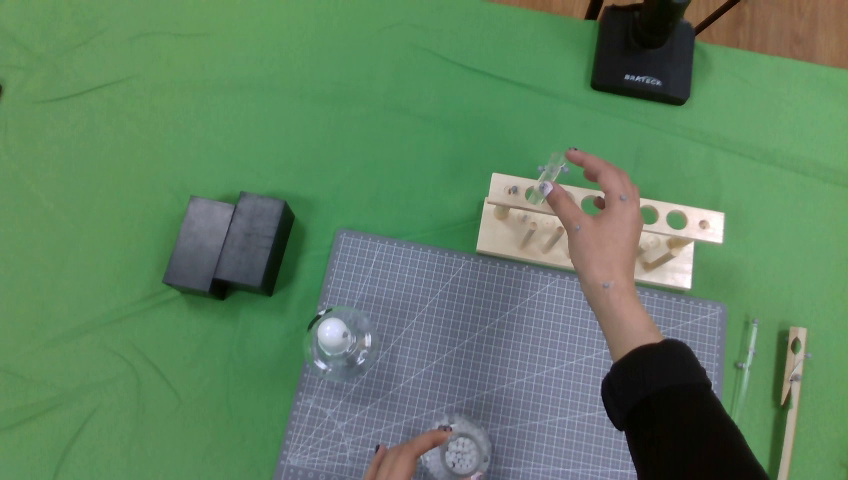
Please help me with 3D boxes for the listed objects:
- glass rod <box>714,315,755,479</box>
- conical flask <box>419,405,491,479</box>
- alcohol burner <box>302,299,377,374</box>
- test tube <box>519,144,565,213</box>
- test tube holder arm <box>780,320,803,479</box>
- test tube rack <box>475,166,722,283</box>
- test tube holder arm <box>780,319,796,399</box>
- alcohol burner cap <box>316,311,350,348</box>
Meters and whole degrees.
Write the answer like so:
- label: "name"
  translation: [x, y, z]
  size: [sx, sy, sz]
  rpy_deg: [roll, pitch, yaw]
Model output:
- label: "glass rod"
  translation: [0.333, 0.175, 0.652]
  size: [0.008, 0.008, 0.199]
  rpy_deg: [18, 77, 4]
- label: "conical flask"
  translation: [0.032, 0.195, 0.580]
  size: [0.075, 0.122, 0.075]
  rpy_deg: [0, 74, 0]
- label: "alcohol burner"
  translation: [-0.088, 0.094, 0.610]
  size: [0.078, 0.120, 0.077]
  rpy_deg: [0, 73, 2]
- label: "test tube"
  translation: [0.119, -0.059, 0.622]
  size: [0.017, 0.151, 0.017]
  rpy_deg: [1, 72, -2]
- label: "test tube holder arm"
  translation: [0.393, 0.172, 0.646]
  size: [0.013, 0.015, 0.177]
  rpy_deg: [1, 70, 38]
- label: "test tube rack"
  translation: [0.183, -0.015, 0.662]
  size: [0.242, 0.085, 0.066]
  rpy_deg: [10, 75, 2]
- label: "test tube holder arm"
  translation: [0.398, 0.130, 0.661]
  size: [0.010, 0.015, 0.087]
  rpy_deg: [2, 71, 38]
- label: "alcohol burner cap"
  translation: [-0.087, 0.083, 0.576]
  size: [0.034, 0.048, 0.033]
  rpy_deg: [2, 71, -5]
